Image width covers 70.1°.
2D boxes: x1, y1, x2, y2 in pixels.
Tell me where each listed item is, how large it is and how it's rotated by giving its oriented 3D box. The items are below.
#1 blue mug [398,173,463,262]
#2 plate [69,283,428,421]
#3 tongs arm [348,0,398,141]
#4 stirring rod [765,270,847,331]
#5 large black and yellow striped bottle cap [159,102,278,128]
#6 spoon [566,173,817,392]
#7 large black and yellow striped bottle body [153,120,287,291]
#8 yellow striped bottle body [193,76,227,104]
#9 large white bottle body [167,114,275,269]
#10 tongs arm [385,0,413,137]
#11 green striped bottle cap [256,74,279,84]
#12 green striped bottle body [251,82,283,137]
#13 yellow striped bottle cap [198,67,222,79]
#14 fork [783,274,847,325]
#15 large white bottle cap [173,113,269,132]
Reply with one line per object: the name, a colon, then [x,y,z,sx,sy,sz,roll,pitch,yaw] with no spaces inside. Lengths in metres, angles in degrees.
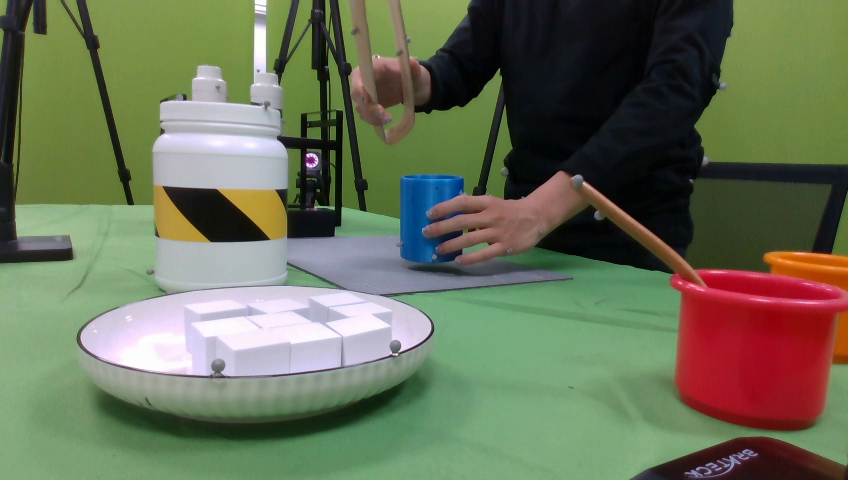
blue mug: [0.001,-0.033,0.791,0.083,0.106,0.116,-6,12,-29]
plate: [-0.102,0.066,0.381,0.208,0.039,0.207,2,7,0]
tongs arm: [-0.060,-0.195,0.748,0.027,0.028,0.387,45,-7,8]
stirring rod: [0.352,0.020,0.484,0.176,0.006,0.014,-40,-7,13]
large black and yellow striped bottle cap: [-0.207,-0.125,0.615,0.115,0.019,0.115,2,6,0]
spoon: [0.161,0.024,0.370,0.193,0.021,0.042,47,17,3]
large black and yellow striped bottle body: [-0.208,-0.043,0.626,0.131,0.184,0.130,2,7,0]
yellow striped bottle body: [-0.414,-0.268,1.169,0.063,0.120,0.063,2,7,0]
large white bottle body: [-0.256,-0.063,0.771,0.131,0.184,0.130,2,7,0]
tongs arm: [-0.041,-0.211,0.751,0.051,0.026,0.385,-42,-8,-3]
green striped bottle cap: [-0.314,-0.321,1.214,0.044,0.020,0.044,2,8,0]
green striped bottle body: [-0.317,-0.270,1.220,0.063,0.119,0.063,2,7,0]
yellow striped bottle cap: [-0.412,-0.320,1.163,0.044,0.018,0.044,1,5,0]
fork: [0.332,0.018,0.443,0.028,0.018,0.207,-1,-36,-15]
large white bottle cap: [-0.254,-0.146,0.760,0.115,0.018,0.115,1,7,0]
